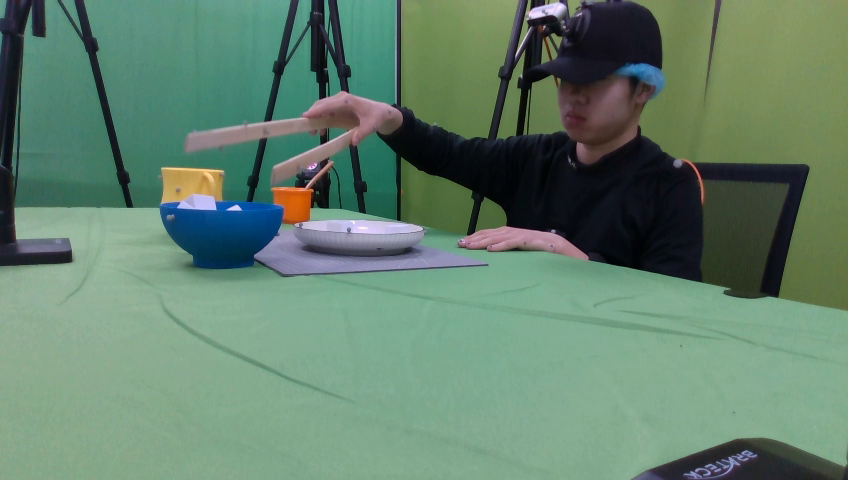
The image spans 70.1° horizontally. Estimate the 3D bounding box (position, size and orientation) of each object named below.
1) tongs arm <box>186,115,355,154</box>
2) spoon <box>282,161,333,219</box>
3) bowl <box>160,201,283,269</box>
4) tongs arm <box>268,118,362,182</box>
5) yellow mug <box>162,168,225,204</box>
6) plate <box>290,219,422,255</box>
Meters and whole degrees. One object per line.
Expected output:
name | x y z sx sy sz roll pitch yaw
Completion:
tongs arm | -0.221 -0.170 0.958 0.050 0.026 0.386 19 22 16
spoon | -0.262 -0.115 1.359 0.041 0.194 0.022 12 -33 38
bowl | -0.260 -0.006 0.783 0.151 0.077 0.151 2 8 0
tongs arm | -0.157 -0.147 0.944 0.028 0.028 0.388 12 21 8
yellow mug | -0.383 -0.087 1.026 0.130 0.064 0.100 11 11 44
plate | -0.108 -0.005 0.963 0.208 0.039 0.207 3 7 0
